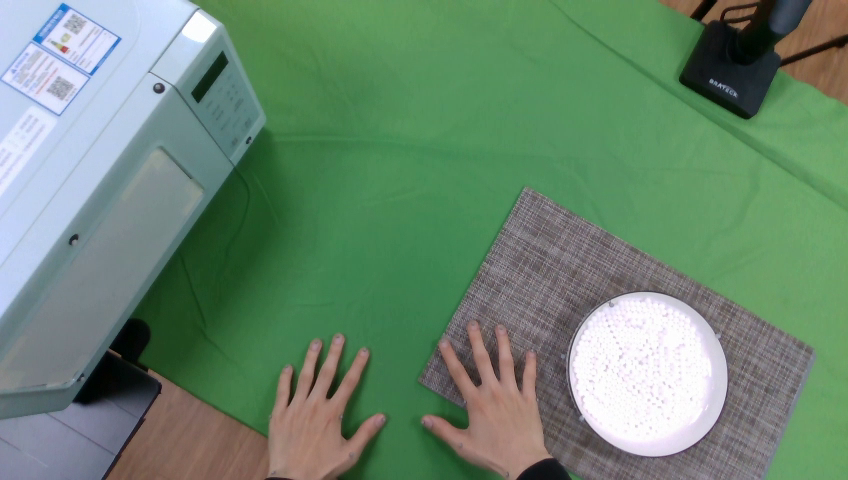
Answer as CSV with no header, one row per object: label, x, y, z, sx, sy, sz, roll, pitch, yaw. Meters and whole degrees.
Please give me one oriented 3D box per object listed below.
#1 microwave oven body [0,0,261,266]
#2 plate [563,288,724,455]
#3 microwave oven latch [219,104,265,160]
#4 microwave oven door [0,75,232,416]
microwave oven body,-0.447,-0.089,0.652,0.326,0.260,0.440,31,79,1
plate,0.278,0.167,0.781,0.209,0.038,0.208,1,80,-4
microwave oven latch,-0.237,-0.144,0.778,0.030,0.029,0.079,33,80,1
microwave oven door,-0.343,0.020,0.637,0.039,0.244,0.355,30,79,2
